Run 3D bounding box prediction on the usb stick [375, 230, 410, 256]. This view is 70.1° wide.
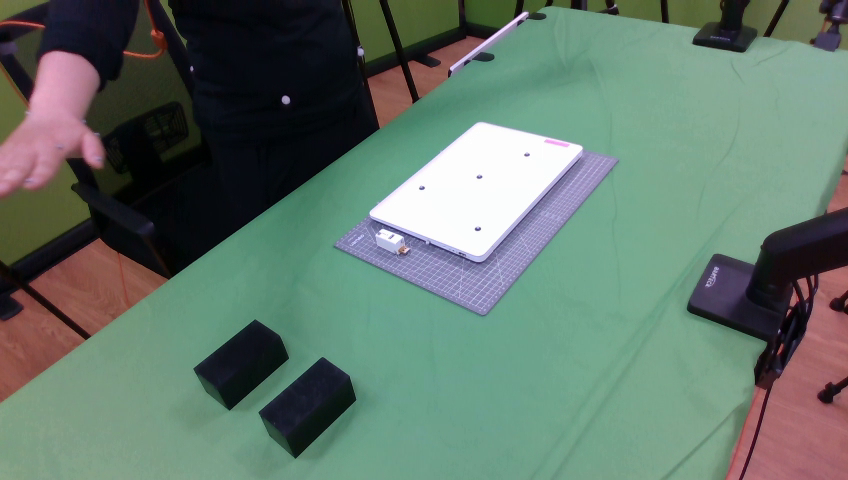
[{"bbox_3d":[-0.049,0.007,0.962,0.059,0.027,0.021,24,46,28],"label":"usb stick"}]

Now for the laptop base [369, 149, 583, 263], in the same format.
[{"bbox_3d":[0.101,-0.096,1.071,0.233,0.023,0.355,20,47,33],"label":"laptop base"}]

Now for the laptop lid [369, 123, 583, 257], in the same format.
[{"bbox_3d":[0.097,-0.106,1.065,0.239,0.013,0.358,22,48,33],"label":"laptop lid"}]
